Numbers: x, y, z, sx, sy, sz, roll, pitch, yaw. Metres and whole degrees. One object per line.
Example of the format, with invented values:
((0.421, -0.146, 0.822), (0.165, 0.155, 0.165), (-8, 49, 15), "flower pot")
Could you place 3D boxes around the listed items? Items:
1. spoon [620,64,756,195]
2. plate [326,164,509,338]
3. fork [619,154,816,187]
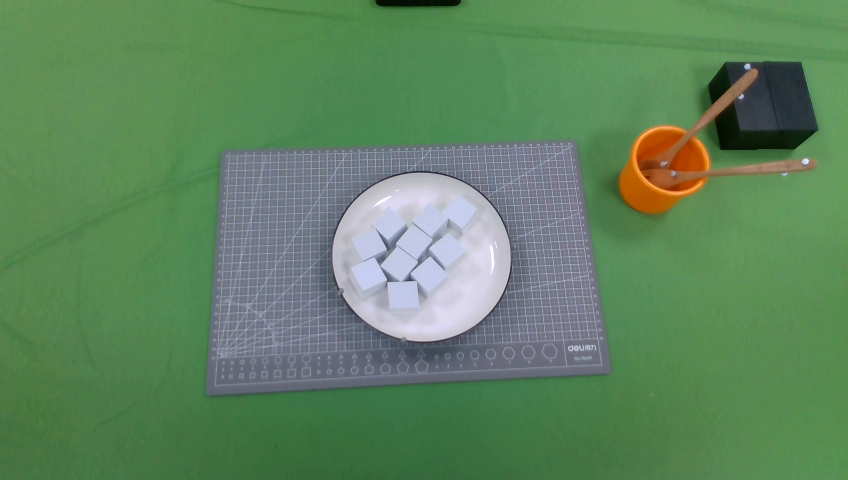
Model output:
((0.306, -0.126, 0.708), (0.022, 0.194, 0.041), (-14, 60, -52), "spoon")
((-0.007, 0.013, 0.704), (0.208, 0.039, 0.206), (1, 71, -2), "plate")
((0.323, -0.080, 0.687), (0.206, 0.019, 0.028), (-2, 84, 42), "fork")
